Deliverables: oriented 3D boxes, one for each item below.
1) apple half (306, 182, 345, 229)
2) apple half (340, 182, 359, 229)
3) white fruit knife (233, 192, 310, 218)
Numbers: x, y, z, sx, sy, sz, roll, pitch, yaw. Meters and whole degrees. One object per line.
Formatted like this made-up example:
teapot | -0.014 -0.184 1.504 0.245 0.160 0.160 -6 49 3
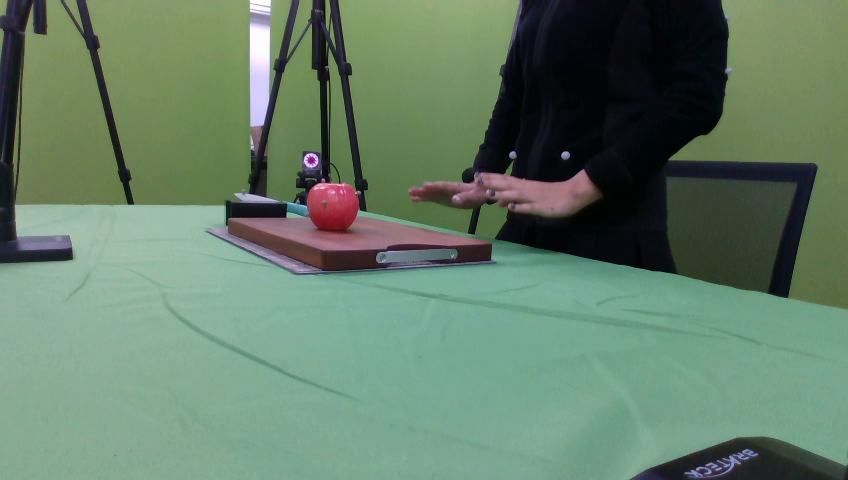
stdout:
apple half | -0.158 -0.054 0.950 0.053 0.074 0.080 -4 13 -20
apple half | -0.120 -0.056 0.963 0.033 0.081 0.081 -5 9 -20
white fruit knife | -0.276 -0.066 1.210 0.208 0.027 0.016 14 0 -24
